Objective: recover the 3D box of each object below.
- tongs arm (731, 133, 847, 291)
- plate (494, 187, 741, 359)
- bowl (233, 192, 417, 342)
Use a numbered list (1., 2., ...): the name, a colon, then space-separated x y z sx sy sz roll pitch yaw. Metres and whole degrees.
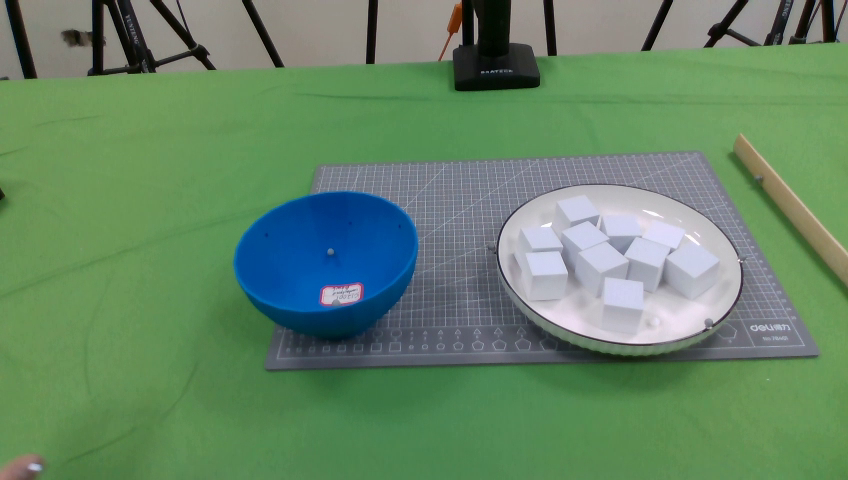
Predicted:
1. tongs arm: 0.381 0.011 0.554 0.028 0.028 0.383 -4 41 -5
2. plate: 0.166 0.027 0.540 0.207 0.039 0.205 -2 41 2
3. bowl: -0.078 0.034 0.519 0.151 0.077 0.150 -2 41 2
